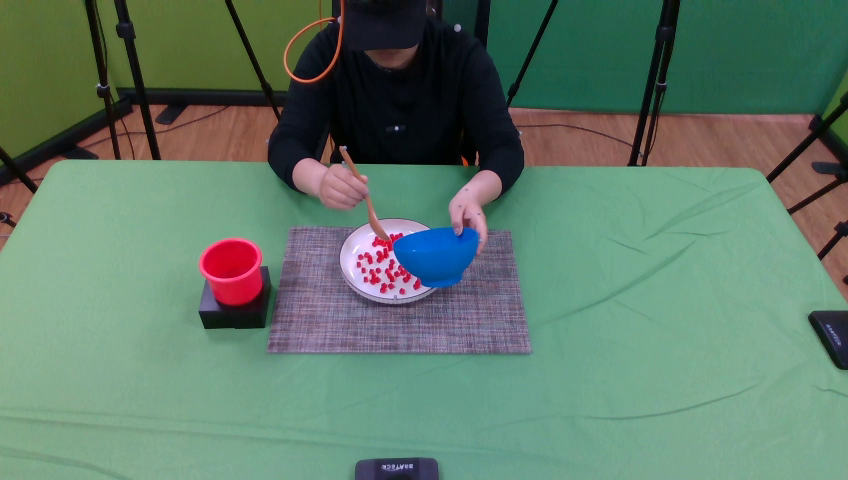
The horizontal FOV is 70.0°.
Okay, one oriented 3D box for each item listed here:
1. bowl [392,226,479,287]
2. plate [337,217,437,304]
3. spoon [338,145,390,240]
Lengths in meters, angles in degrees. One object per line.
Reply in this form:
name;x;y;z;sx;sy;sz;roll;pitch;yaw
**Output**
bowl;0.024;0.032;1.038;0.151;0.077;0.151;-8;14;2
plate;-0.058;0.042;1.137;0.208;0.039;0.206;2;46;-2
spoon;-0.104;-0.079;1.051;0.021;0.194;0.041;-32;26;-22
